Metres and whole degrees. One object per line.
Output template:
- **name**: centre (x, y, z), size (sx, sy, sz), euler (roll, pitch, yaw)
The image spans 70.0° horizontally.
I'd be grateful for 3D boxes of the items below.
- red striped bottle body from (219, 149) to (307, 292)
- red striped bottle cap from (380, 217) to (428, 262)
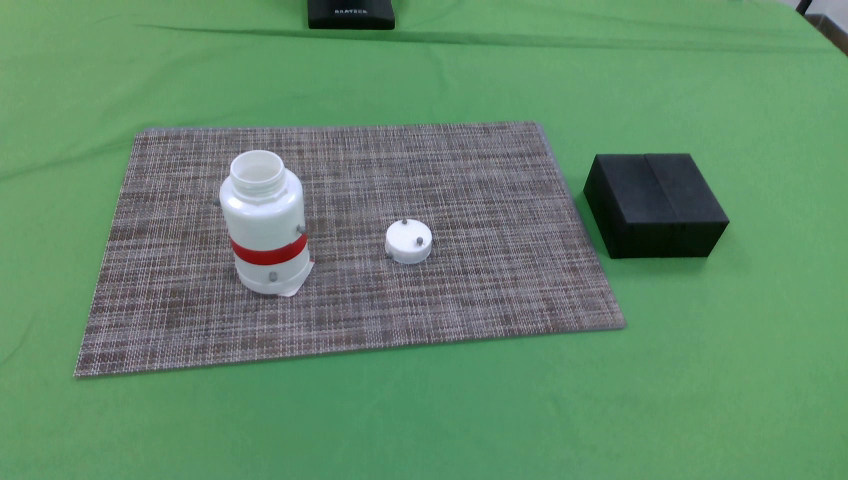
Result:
- **red striped bottle body**: centre (-0.131, -0.017, 0.498), size (0.063, 0.120, 0.062), euler (4, 47, -3)
- **red striped bottle cap**: centre (-0.018, -0.001, 0.568), size (0.044, 0.018, 0.044), euler (8, 45, -8)
